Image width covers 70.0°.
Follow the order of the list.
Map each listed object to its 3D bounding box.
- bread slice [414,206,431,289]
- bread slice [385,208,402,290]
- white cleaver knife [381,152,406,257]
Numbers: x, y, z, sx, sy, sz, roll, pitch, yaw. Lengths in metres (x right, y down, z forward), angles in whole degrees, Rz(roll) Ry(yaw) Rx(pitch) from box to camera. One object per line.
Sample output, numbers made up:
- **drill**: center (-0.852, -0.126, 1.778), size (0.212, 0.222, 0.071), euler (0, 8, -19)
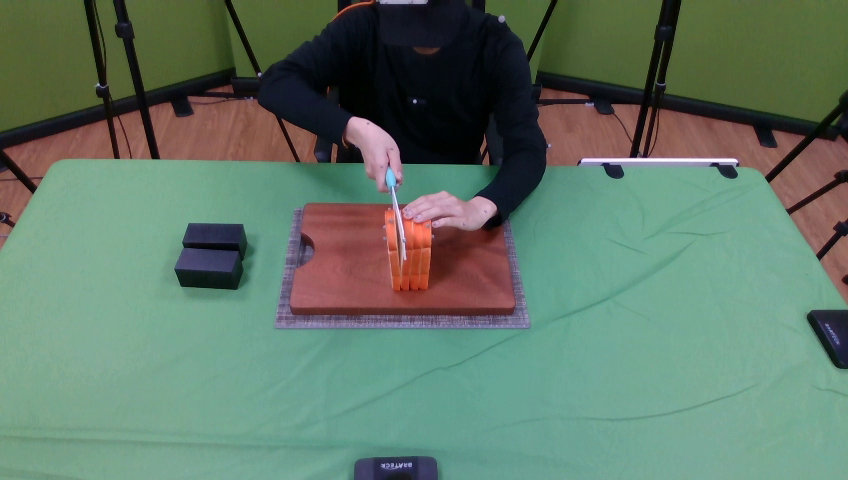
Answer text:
- **bread slice**: center (-0.003, 0.009, 1.072), size (0.018, 0.135, 0.106), euler (0, 48, -7)
- **bread slice**: center (-0.054, 0.009, 1.069), size (0.019, 0.132, 0.104), euler (-6, 46, -1)
- **white cleaver knife**: center (-0.055, -0.069, 1.083), size (0.021, 0.066, 0.284), euler (-6, 38, -5)
